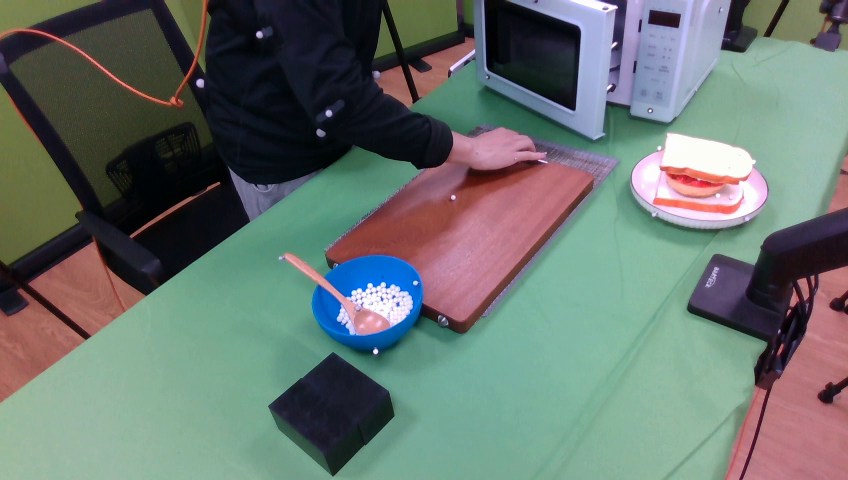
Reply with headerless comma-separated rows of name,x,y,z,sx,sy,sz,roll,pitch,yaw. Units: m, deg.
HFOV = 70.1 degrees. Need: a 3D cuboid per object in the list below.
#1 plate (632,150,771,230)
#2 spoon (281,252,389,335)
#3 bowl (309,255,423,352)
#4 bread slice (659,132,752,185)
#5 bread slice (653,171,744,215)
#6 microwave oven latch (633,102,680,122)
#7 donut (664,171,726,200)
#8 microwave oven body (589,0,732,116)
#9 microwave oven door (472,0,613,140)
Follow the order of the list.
plate,0.447,-0.081,0.988,0.207,0.039,0.206,-4,40,4
spoon,-0.123,0.071,0.811,0.193,0.022,0.042,39,65,16
bowl,-0.072,0.098,0.820,0.151,0.077,0.150,-4,40,4
bread slice,0.443,-0.126,0.951,0.134,0.018,0.107,14,43,14
bread slice,0.453,-0.084,0.992,0.131,0.019,0.105,11,45,21
microwave oven latch,0.444,-0.249,1.157,0.078,0.029,0.030,22,49,31
donut,0.437,-0.104,0.973,0.099,0.048,0.098,-11,42,10
microwave oven body,0.377,-0.463,1.267,0.438,0.261,0.327,21,49,30
microwave oven door,0.216,-0.367,1.171,0.039,0.245,0.352,-29,45,-23
